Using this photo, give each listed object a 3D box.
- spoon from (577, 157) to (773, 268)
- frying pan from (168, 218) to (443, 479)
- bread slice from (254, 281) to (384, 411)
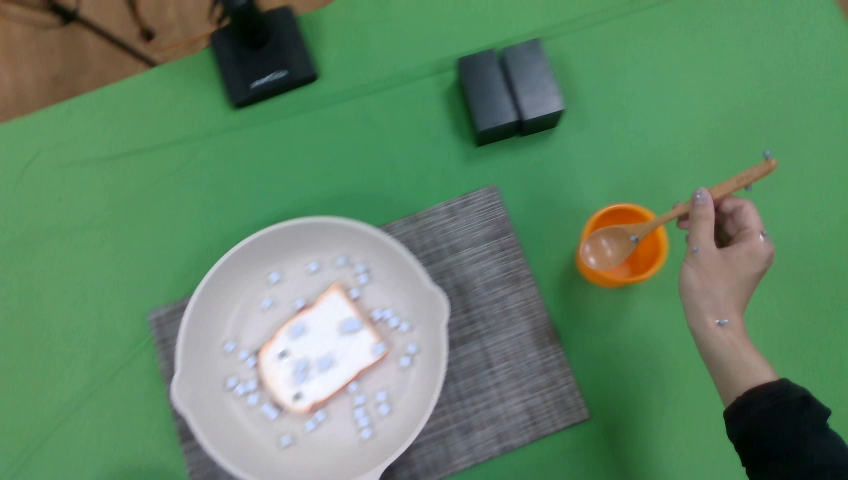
[{"bbox_3d":[0.230,-0.024,0.571,0.193,0.022,0.041,-32,76,37],"label":"spoon"},{"bbox_3d":[-0.093,0.214,0.644,0.307,0.103,0.484,-18,69,-2],"label":"frying pan"},{"bbox_3d":[-0.127,0.131,0.704,0.134,0.018,0.106,-41,80,-10],"label":"bread slice"}]
